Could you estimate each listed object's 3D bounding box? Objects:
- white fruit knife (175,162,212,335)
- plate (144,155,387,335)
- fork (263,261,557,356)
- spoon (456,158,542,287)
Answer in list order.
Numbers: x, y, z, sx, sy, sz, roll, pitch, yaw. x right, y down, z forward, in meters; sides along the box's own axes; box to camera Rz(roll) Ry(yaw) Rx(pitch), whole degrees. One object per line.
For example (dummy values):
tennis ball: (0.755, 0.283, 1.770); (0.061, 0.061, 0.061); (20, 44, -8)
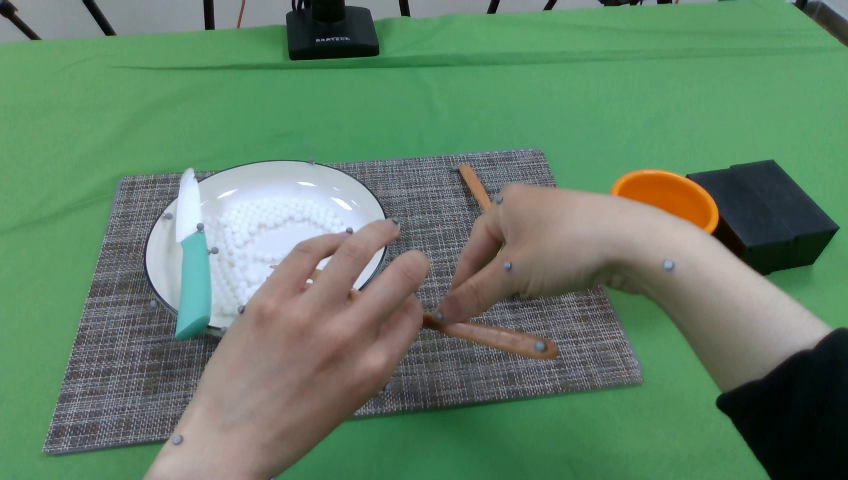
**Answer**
white fruit knife: (-0.199, -0.004, 0.517); (0.027, 0.016, 0.205); (-14, 48, -10)
plate: (-0.136, 0.002, 0.543); (0.209, 0.038, 0.207); (1, 47, -1)
fork: (-0.017, 0.044, 0.390); (0.206, 0.019, 0.028); (12, 82, 23)
spoon: (0.065, -0.024, 0.588); (0.041, 0.022, 0.191); (-22, 50, 1)
